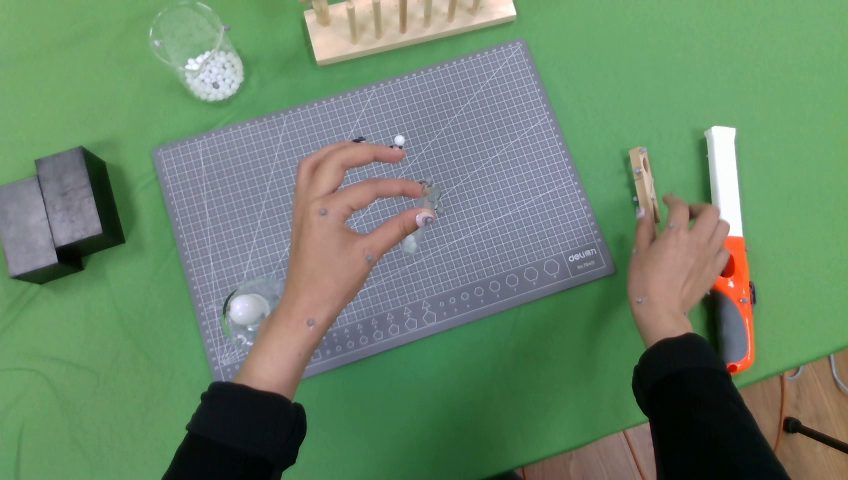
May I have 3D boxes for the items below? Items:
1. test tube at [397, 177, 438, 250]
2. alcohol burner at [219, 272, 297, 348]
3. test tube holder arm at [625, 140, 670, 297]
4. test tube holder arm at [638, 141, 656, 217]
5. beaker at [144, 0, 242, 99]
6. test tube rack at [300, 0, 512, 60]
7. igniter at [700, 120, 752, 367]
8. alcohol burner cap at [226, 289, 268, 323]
[{"bbox_3d":[-0.008,-0.018,0.515,0.017,0.151,0.017,3,72,-8],"label":"test tube"},{"bbox_3d":[-0.168,0.067,0.600,0.078,0.119,0.077,1,77,-2],"label":"alcohol burner"},{"bbox_3d":[0.250,-0.025,0.678,0.013,0.015,0.177,-2,79,-33],"label":"test tube holder arm"},{"bbox_3d":[0.249,-0.069,0.688,0.010,0.015,0.087,-1,79,-33],"label":"test tube holder arm"},{"bbox_3d":[-0.244,-0.202,0.657,0.074,0.100,0.083,-16,80,-4],"label":"beaker"},{"bbox_3d":[-0.020,-0.280,0.685,0.242,0.085,0.066,-15,80,-4],"label":"test tube rack"},{"bbox_3d":[0.332,0.000,0.672,0.057,0.025,0.275,3,79,-11],"label":"igniter"},{"bbox_3d":[-0.167,0.061,0.564,0.034,0.048,0.034,0,84,-4],"label":"alcohol burner cap"}]
